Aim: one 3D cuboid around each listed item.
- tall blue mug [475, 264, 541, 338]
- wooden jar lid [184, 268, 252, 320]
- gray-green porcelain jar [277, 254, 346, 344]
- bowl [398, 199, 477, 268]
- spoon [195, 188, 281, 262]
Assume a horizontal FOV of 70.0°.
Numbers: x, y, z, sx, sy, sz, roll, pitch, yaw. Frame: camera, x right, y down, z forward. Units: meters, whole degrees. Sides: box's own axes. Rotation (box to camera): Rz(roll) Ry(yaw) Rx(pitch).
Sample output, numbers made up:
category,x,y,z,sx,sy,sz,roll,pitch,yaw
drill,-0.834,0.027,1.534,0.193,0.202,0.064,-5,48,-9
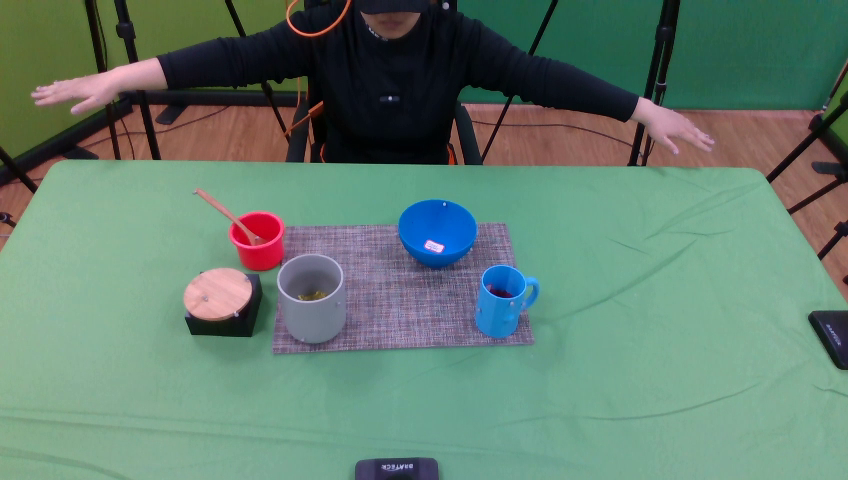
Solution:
category,x,y,z,sx,sy,sz,roll,pitch,yaw
tall blue mug,0.141,0.098,1.047,0.077,0.108,0.107,33,53,27
wooden jar lid,-0.343,0.092,1.015,0.108,0.021,0.107,3,46,-3
gray-green porcelain jar,-0.184,0.102,1.007,0.106,0.127,0.105,2,46,-2
bowl,0.024,0.000,1.156,0.151,0.077,0.150,2,46,-2
spoon,-0.342,-0.028,1.117,0.194,0.021,0.041,47,49,-20
